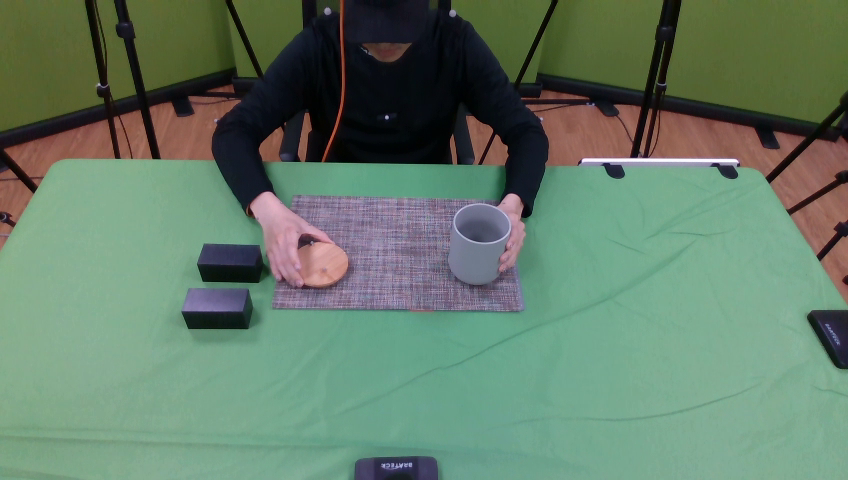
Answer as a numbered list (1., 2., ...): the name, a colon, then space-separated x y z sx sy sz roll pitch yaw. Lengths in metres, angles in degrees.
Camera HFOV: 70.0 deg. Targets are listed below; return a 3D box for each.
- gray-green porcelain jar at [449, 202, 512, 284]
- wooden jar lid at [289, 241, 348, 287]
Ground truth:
1. gray-green porcelain jar: 0.100 0.011 1.116 0.106 0.127 0.105 2 47 -2
2. wooden jar lid: -0.196 0.047 1.133 0.108 0.021 0.107 2 45 -2
